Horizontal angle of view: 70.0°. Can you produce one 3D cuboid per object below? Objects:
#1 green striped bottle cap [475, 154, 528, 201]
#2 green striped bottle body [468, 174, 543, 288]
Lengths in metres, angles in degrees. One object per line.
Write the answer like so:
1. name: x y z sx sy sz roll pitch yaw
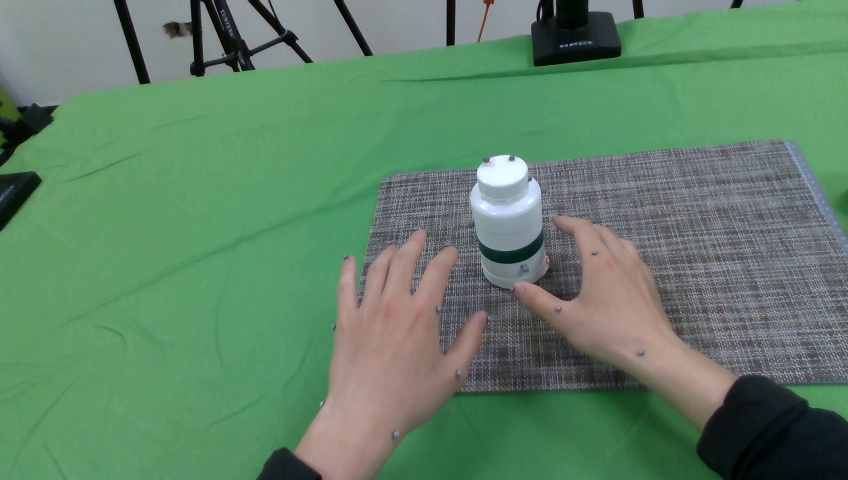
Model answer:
1. green striped bottle cap: 0.066 -0.053 0.516 0.044 0.020 0.044 -8 44 9
2. green striped bottle body: 0.075 -0.017 0.552 0.063 0.120 0.062 -7 43 7
